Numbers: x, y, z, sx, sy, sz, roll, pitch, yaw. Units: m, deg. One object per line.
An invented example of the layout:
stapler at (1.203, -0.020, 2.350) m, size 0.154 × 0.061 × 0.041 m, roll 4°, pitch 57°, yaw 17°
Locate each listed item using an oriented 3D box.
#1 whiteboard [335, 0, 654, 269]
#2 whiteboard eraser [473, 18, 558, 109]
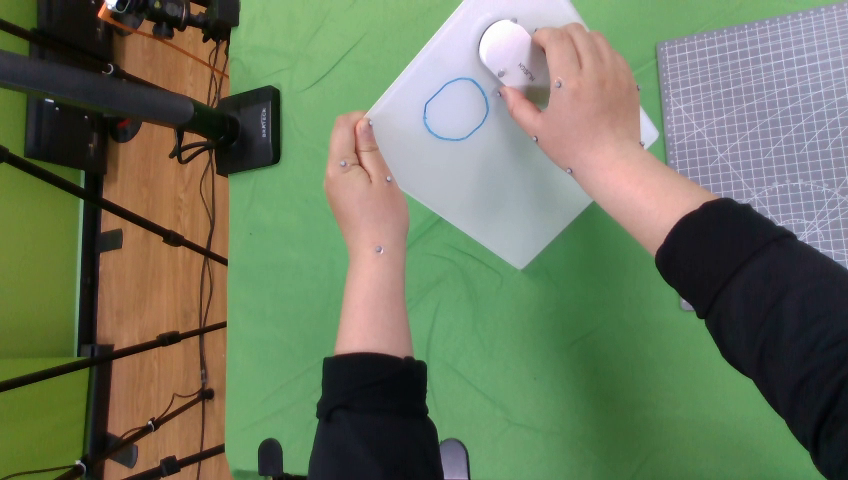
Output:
whiteboard at (0.062, -0.140, 0.627) m, size 0.217 × 0.309 × 0.142 m, roll -45°, pitch 47°, yaw 13°
whiteboard eraser at (0.079, -0.149, 0.516) m, size 0.041 × 0.102 × 0.018 m, roll -47°, pitch 45°, yaw 13°
